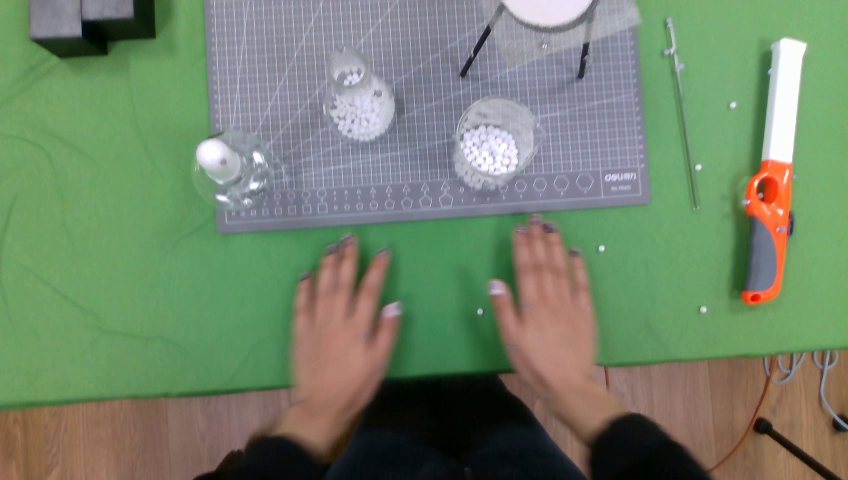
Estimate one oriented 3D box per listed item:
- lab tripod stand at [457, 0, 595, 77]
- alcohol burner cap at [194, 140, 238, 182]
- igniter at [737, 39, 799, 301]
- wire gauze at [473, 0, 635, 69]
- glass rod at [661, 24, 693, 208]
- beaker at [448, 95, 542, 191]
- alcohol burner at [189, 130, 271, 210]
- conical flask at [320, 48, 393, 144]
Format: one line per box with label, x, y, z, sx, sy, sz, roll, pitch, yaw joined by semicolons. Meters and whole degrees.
lab tripod stand;0.100;-0.212;0.576;0.148;0.131;0.148;0;88;-1
alcohol burner cap;-0.184;-0.072;0.533;0.034;0.048;0.034;1;84;-6
igniter;0.360;-0.072;0.632;0.057;0.025;0.276;9;87;-12
wire gauze;0.101;-0.217;0.509;0.125;0.011;0.121;-21;89;-2
glass rod;0.267;-0.132;0.642;0.008;0.008;0.199;-7;87;-2
beaker;0.063;-0.089;0.585;0.084;0.100;0.074;-6;87;-3
alcohol burner;-0.186;-0.068;0.569;0.078;0.119;0.078;0;88;-3
conical flask;-0.068;-0.140;0.572;0.075;0.122;0.075;0;86;-1
